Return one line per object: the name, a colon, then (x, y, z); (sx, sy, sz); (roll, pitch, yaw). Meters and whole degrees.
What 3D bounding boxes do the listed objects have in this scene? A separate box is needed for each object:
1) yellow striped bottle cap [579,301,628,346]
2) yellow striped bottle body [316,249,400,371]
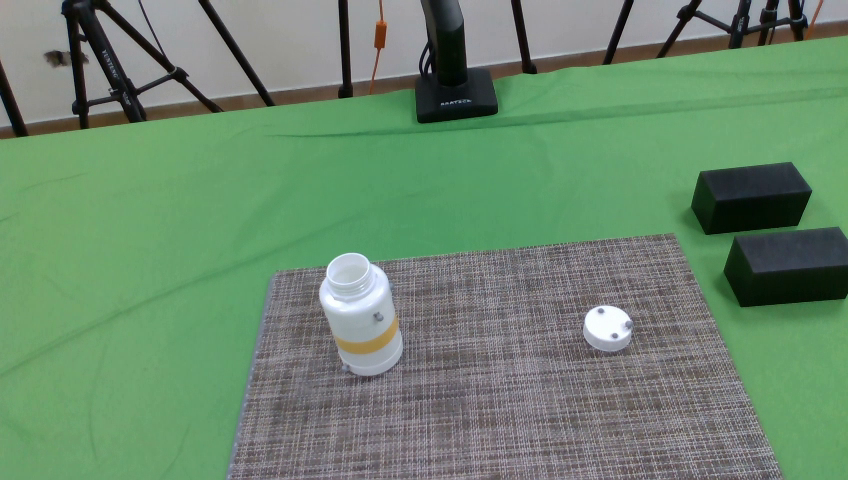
yellow striped bottle cap: (0.173, 0.079, 0.581); (0.044, 0.019, 0.044); (-3, 44, 3)
yellow striped bottle body: (-0.061, 0.063, 0.558); (0.063, 0.121, 0.062); (-4, 44, 5)
